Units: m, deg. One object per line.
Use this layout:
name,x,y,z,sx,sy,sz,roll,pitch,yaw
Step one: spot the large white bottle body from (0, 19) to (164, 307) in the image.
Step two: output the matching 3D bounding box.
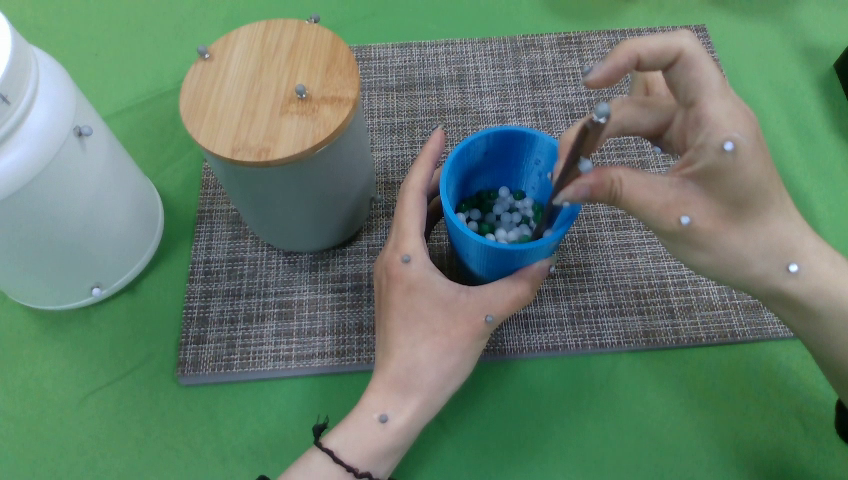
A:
large white bottle body,-0.269,-0.047,0.394,0.130,0.186,0.129,-1,63,1

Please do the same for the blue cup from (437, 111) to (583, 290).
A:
blue cup,0.051,-0.013,0.396,0.092,0.101,0.092,0,64,1

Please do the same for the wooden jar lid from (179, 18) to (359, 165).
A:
wooden jar lid,-0.093,-0.089,0.369,0.108,0.021,0.107,-2,64,4

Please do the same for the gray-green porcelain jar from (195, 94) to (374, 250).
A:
gray-green porcelain jar,-0.091,-0.059,0.425,0.106,0.127,0.105,-1,63,2

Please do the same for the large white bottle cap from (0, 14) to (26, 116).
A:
large white bottle cap,-0.272,-0.085,0.318,0.115,0.018,0.114,0,63,1

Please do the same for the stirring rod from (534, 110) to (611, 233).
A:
stirring rod,0.072,-0.023,0.329,0.014,0.177,0.006,-39,76,-11
